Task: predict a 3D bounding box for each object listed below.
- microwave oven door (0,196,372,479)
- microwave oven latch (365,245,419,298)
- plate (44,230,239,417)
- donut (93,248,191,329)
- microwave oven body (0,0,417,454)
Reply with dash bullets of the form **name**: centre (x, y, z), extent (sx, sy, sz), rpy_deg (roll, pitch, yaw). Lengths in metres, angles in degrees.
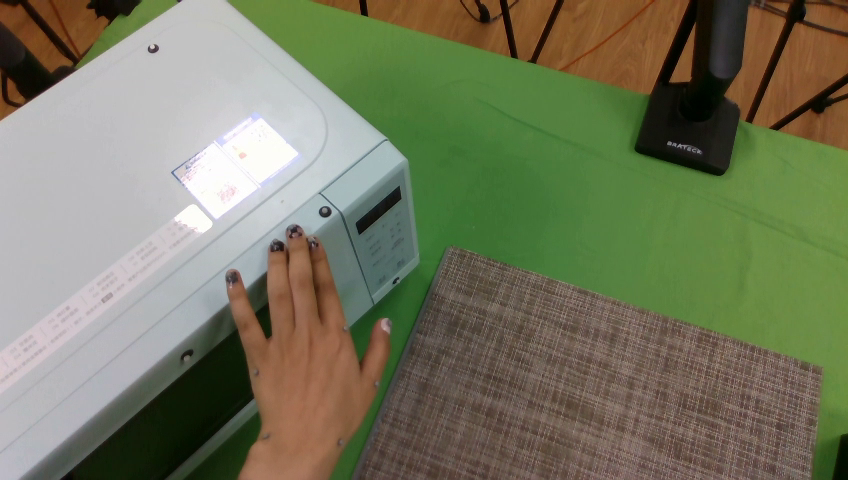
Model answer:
- **microwave oven door**: centre (-0.203, 0.128, 0.568), extent (0.355, 0.245, 0.039), rpy_deg (-42, 70, -16)
- **microwave oven latch**: centre (-0.041, 0.031, 0.719), extent (0.079, 0.030, 0.030), rpy_deg (-42, 71, -15)
- **plate**: centre (-0.290, 0.086, 0.638), extent (0.209, 0.038, 0.207), rpy_deg (-5, 59, 8)
- **donut**: centre (-0.307, 0.053, 0.662), extent (0.099, 0.048, 0.098), rpy_deg (6, 54, -7)
- **microwave oven body**: centre (-0.275, 0.010, 0.629), extent (0.441, 0.262, 0.324), rpy_deg (-42, 72, -15)
